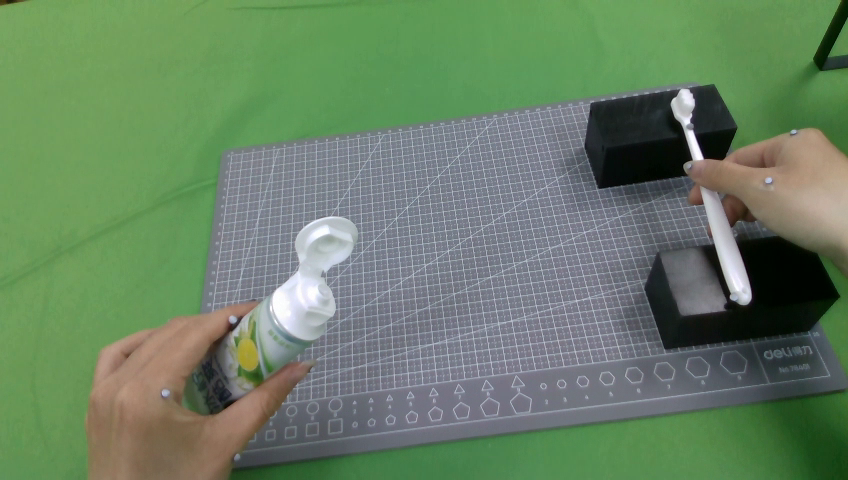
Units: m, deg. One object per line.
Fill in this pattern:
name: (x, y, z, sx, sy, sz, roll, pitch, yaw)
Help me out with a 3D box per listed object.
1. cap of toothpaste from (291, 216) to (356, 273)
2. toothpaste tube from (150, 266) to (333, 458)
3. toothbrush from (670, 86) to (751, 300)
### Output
cap of toothpaste: (-0.053, 0.003, 0.325, 0.037, 0.038, 0.011, -22, 50, -7)
toothpaste tube: (-0.110, 0.069, 0.354, 0.165, 0.035, 0.054, -41, 72, 26)
toothbrush: (0.199, -0.040, 0.424, 0.014, 0.017, 0.180, 4, 58, -7)
